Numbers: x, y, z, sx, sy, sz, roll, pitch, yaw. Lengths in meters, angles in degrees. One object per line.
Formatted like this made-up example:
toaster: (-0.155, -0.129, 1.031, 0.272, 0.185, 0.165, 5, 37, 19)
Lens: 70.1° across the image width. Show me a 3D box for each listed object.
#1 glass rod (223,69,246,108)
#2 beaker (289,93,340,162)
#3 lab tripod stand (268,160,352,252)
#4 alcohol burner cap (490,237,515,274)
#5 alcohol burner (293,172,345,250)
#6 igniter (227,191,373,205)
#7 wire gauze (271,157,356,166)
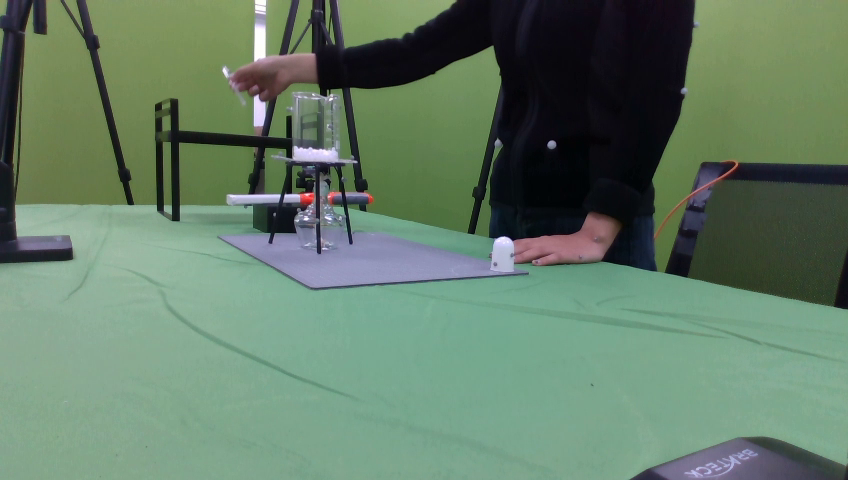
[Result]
glass rod: (-0.386, -0.310, 1.230, 0.008, 0.008, 0.198, -2, 35, -31)
beaker: (-0.162, -0.167, 0.908, 0.074, 0.100, 0.083, -4, 10, -31)
lab tripod stand: (-0.171, -0.055, 0.921, 0.148, 0.131, 0.148, 1, 9, 0)
alcohol burner cap: (0.104, 0.020, 0.793, 0.034, 0.048, 0.034, 2, 6, 0)
alcohol burner: (-0.159, -0.044, 0.921, 0.078, 0.119, 0.078, 5, 7, 0)
igniter: (-0.232, -0.080, 1.161, 0.278, 0.025, 0.057, -3, 12, -29)
wire gauze: (-0.167, -0.120, 0.917, 0.125, 0.011, 0.121, -2, 6, -8)
